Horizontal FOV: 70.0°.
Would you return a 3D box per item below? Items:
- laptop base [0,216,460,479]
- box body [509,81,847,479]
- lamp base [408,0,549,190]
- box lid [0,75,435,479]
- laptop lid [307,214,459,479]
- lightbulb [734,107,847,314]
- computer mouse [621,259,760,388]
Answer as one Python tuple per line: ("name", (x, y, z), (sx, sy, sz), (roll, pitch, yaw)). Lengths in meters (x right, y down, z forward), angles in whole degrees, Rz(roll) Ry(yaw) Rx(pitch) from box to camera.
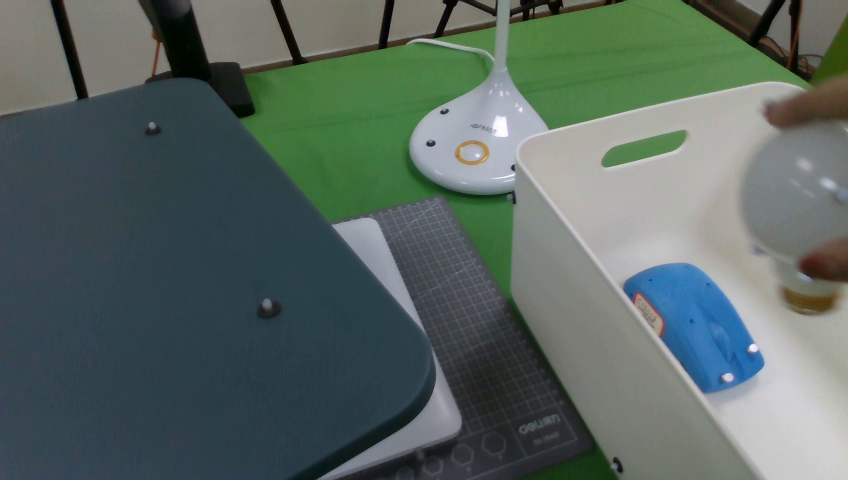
("laptop base", (-0.175, 0.103, 0.470), (0.355, 0.023, 0.233), (-14, 51, -14))
("box body", (0.236, 0.071, 0.398), (0.255, 0.162, 0.359), (-15, 47, -14))
("lamp base", (0.064, -0.172, 0.626), (0.160, 0.182, 0.178), (10, 44, 10))
("box lid", (-0.192, 0.010, 0.319), (0.264, 0.015, 0.367), (-23, 45, -24))
("laptop lid", (-0.175, 0.096, 0.460), (0.357, 0.013, 0.239), (-13, 49, -12))
("lightbulb", (0.160, -0.004, 0.245), (0.059, 0.109, 0.059), (-16, 45, 17))
("computer mouse", (0.213, 0.061, 0.486), (0.063, 0.041, 0.116), (-14, 52, -16))
